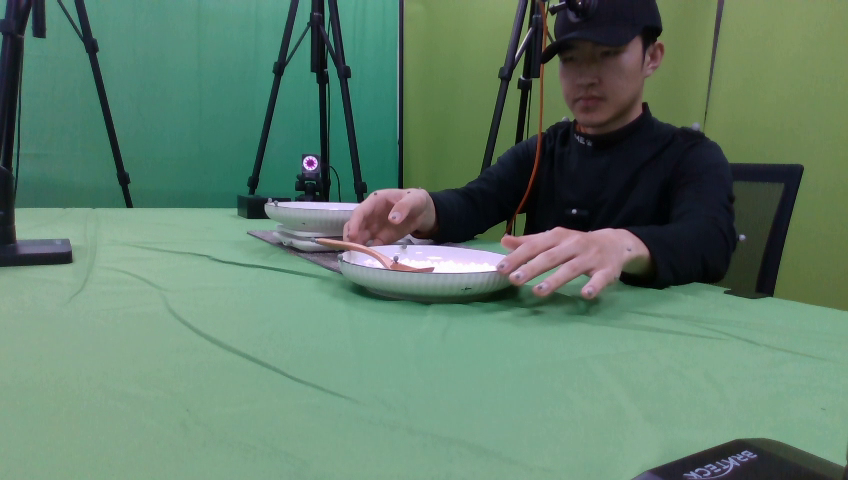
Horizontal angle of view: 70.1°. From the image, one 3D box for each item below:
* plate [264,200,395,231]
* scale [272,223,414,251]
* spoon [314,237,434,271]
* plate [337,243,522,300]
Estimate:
[{"bbox_3d":[-0.150,-0.040,0.971,0.208,0.039,0.207,2,7,0],"label":"plate"},{"bbox_3d":[-0.132,-0.008,0.983,0.202,0.031,0.148,-2,8,-32],"label":"scale"},{"bbox_3d":[-0.064,0.015,0.694,0.192,0.021,0.042,18,15,42],"label":"spoon"},{"bbox_3d":[0.007,0.035,0.688,0.209,0.038,0.209,2,7,0],"label":"plate"}]
